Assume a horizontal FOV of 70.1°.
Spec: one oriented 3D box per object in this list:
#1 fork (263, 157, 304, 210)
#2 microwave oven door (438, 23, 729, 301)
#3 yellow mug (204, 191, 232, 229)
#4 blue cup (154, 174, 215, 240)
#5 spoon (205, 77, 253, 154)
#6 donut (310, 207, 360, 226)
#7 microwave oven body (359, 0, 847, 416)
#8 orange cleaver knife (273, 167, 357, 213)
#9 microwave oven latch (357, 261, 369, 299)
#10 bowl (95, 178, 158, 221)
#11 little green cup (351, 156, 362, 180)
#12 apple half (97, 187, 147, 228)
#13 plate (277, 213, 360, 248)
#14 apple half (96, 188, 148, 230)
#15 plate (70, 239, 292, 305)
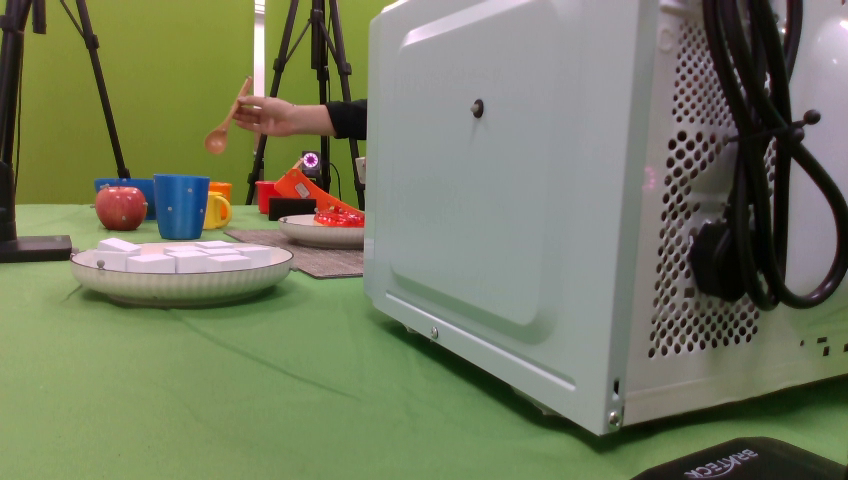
[{"bbox_3d":[-0.345,-0.143,1.505,0.028,0.019,0.207,-5,45,29],"label":"fork"},{"bbox_3d":[0.181,-0.072,0.620,0.358,0.243,0.039,-2,8,-29],"label":"microwave oven door"},{"bbox_3d":[-0.415,-0.057,1.131,0.130,0.064,0.100,5,7,17],"label":"yellow mug"},{"bbox_3d":[-0.391,-0.053,0.978,0.093,0.100,0.092,4,6,0],"label":"blue cup"},{"bbox_3d":[-0.393,-0.258,1.238,0.042,0.193,0.021,30,-20,-22],"label":"spoon"},{"bbox_3d":[-0.137,-0.029,0.995,0.099,0.048,0.099,4,8,0],"label":"donut"},{"bbox_3d":[0.211,-0.047,0.474,0.444,0.260,0.324,-1,7,-28],"label":"microwave oven body"},{"bbox_3d":[-0.238,-0.091,1.381,0.212,0.077,0.012,31,0,-19],"label":"orange cleaver knife"},{"bbox_3d":[-0.019,0.034,0.530,0.079,0.029,0.030,0,7,-25],"label":"microwave oven latch"},{"bbox_3d":[-0.576,-0.081,1.217,0.151,0.077,0.151,3,8,0],"label":"bowl"},{"bbox_3d":[-0.078,-0.116,0.936,0.061,0.038,0.061,-18,11,4],"label":"little green cup"},{"bbox_3d":[-0.534,-0.059,1.071,0.082,0.081,0.032,-1,11,-25],"label":"apple half"},{"bbox_3d":[-0.134,-0.017,0.993,0.209,0.038,0.209,2,8,0],"label":"plate"},{"bbox_3d":[-0.517,-0.052,1.036,0.081,0.074,0.053,2,10,-26],"label":"apple half"},{"bbox_3d":[-0.242,0.031,0.618,0.208,0.039,0.207,2,8,0],"label":"plate"}]
